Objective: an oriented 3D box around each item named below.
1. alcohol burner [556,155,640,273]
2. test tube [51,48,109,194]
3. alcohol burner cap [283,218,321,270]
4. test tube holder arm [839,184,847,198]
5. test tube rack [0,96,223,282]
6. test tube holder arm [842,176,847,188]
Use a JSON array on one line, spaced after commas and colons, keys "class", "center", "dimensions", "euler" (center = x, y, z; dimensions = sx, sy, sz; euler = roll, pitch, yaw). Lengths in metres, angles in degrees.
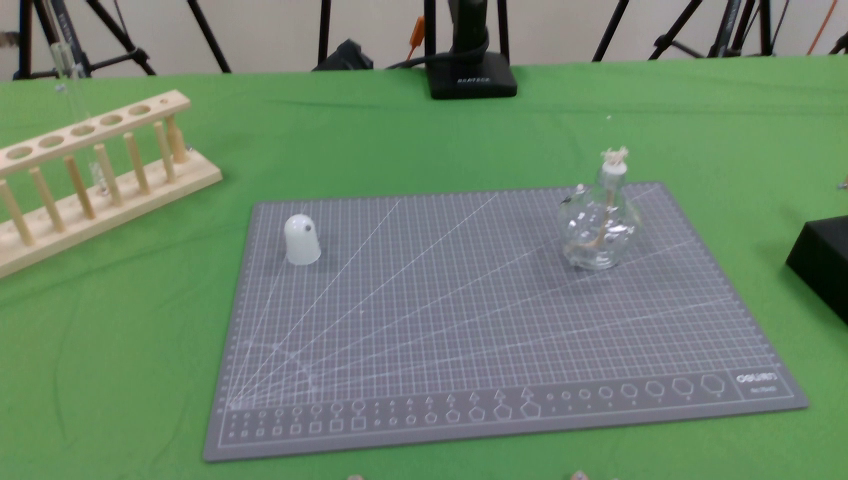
[{"class": "alcohol burner", "center": [0.162, -0.028, 0.553], "dimensions": [0.078, 0.120, 0.077], "euler": [1, 42, -1]}, {"class": "test tube", "center": [-0.333, -0.111, 0.591], "dimensions": [0.017, 0.151, 0.017], "euler": [2, 35, -1]}, {"class": "alcohol burner cap", "center": [-0.116, 0.001, 0.569], "dimensions": [0.034, 0.048, 0.033], "euler": [1, 41, 0]}, {"class": "test tube holder arm", "center": [0.419, 0.001, 0.526], "dimensions": [0.015, 0.013, 0.176], "euler": [0, 39, -3]}, {"class": "test tube rack", "center": [-0.334, -0.056, 0.603], "dimensions": [0.242, 0.086, 0.066], "euler": [-32, 50, -33]}, {"class": "test tube holder arm", "center": [0.418, -0.032, 0.557], "dimensions": [0.015, 0.010, 0.087], "euler": [0, 40, -3]}]
